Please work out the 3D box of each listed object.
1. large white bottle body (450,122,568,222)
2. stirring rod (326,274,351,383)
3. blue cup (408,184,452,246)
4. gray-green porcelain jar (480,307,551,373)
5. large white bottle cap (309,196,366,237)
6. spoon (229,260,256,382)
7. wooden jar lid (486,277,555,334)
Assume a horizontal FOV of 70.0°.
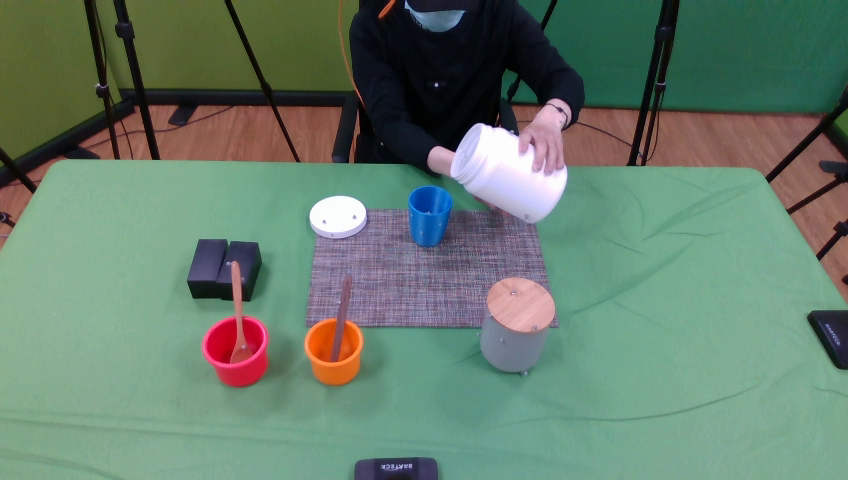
[{"bbox_3d":[0.152,-0.125,1.106,0.185,0.131,0.130,25,44,-17],"label":"large white bottle body"},{"bbox_3d":[-0.137,0.142,0.972,0.014,0.006,0.176,9,89,0],"label":"stirring rod"},{"bbox_3d":[0.008,-0.042,1.177,0.093,0.101,0.092,3,48,-3],"label":"blue cup"},{"bbox_3d":[0.148,0.148,0.992,0.106,0.127,0.105,2,46,-2],"label":"gray-green porcelain jar"},{"bbox_3d":[-0.176,-0.049,1.229,0.115,0.018,0.114,0,43,0],"label":"large white bottle cap"},{"bbox_3d":[-0.294,0.129,0.966,0.042,0.021,0.193,-4,91,-9],"label":"spoon"},{"bbox_3d":[0.150,0.105,0.948,0.108,0.021,0.107,3,47,-3],"label":"wooden jar lid"}]
